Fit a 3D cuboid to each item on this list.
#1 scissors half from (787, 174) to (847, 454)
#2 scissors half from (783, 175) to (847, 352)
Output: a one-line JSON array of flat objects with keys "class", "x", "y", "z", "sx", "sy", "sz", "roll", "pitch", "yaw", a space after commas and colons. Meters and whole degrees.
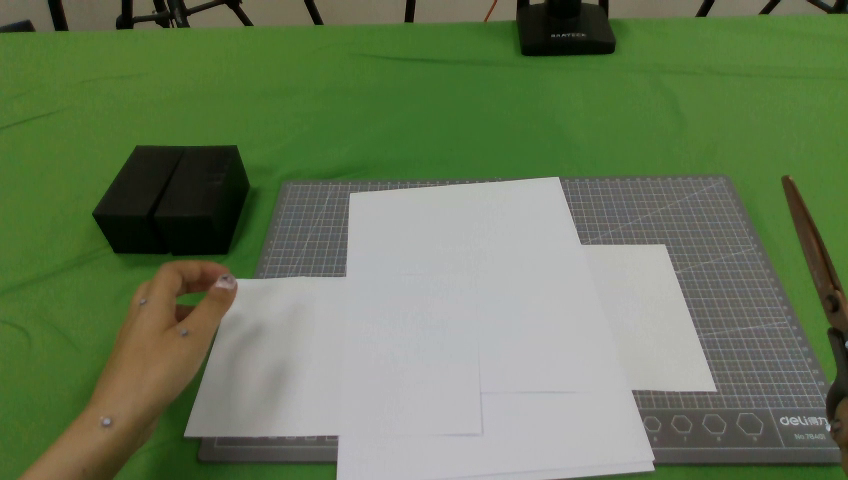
[{"class": "scissors half", "x": 0.223, "y": 0.047, "z": 0.330, "sx": 0.013, "sy": 0.040, "sz": 0.174, "roll": -11, "pitch": 83, "yaw": 4}, {"class": "scissors half", "x": 0.221, "y": 0.042, "z": 0.310, "sx": 0.013, "sy": 0.040, "sz": 0.173, "roll": -10, "pitch": 66, "yaw": -2}]
